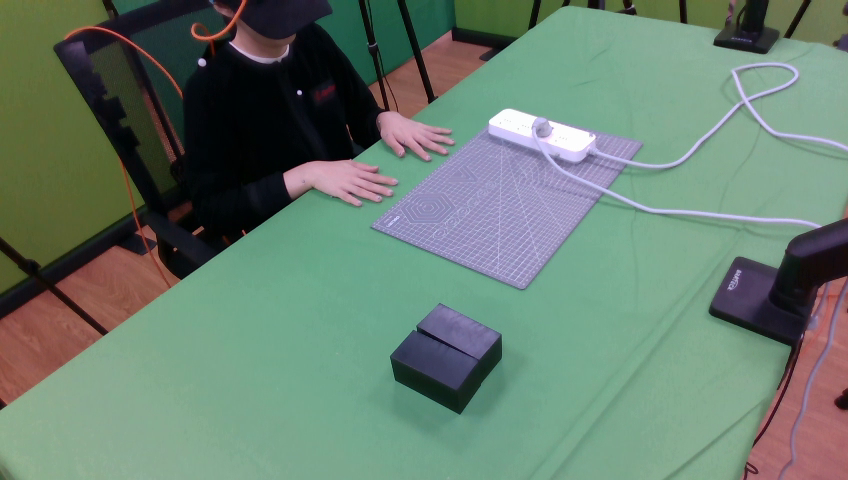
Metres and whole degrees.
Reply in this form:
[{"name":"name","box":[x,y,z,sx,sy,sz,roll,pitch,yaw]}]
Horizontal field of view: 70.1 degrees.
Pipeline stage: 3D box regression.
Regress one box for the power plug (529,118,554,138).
[{"name":"power plug","box":[0.212,-0.200,1.131,0.073,0.053,0.035,-30,45,-25]}]

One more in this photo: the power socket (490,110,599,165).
[{"name":"power socket","box":[0.226,-0.201,1.167,0.225,0.033,0.072,27,53,33]}]
